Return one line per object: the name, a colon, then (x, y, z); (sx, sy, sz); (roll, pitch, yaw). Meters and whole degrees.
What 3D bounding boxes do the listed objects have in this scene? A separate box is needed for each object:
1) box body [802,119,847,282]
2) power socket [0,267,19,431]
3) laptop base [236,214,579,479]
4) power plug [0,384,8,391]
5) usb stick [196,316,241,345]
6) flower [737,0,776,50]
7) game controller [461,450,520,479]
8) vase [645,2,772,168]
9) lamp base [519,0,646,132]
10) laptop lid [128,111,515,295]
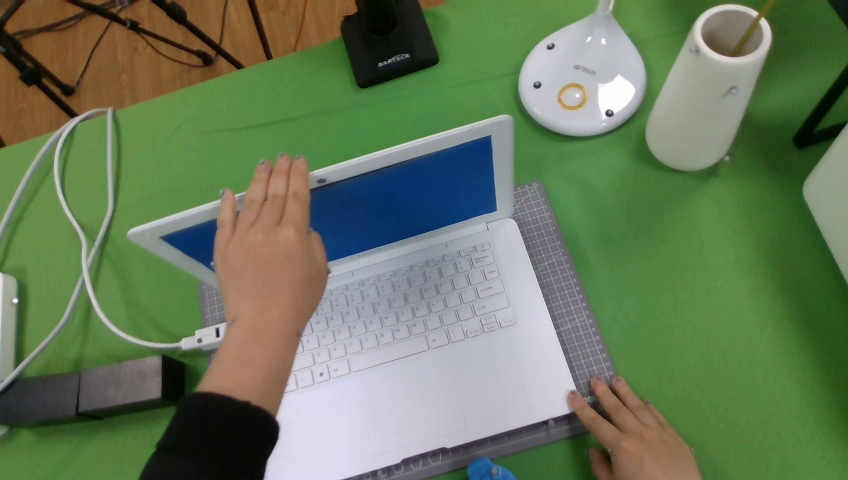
box body: (0.567, 0.025, 0.562); (0.254, 0.161, 0.361); (-15, 68, 3)
power socket: (-0.551, 0.137, 0.756); (0.072, 0.033, 0.225); (-14, 67, 2)
laptop base: (-0.030, 0.121, 0.692); (0.354, 0.023, 0.234); (-17, 71, 2)
power plug: (-0.509, 0.190, 0.708); (0.072, 0.053, 0.035); (-2, 68, 6)
usb stick: (-0.235, 0.106, 0.714); (0.059, 0.027, 0.021); (-13, 67, -3)
flower: (0.308, -0.195, 0.576); (0.038, 0.364, 0.043); (-1, 58, -9)
game controller: (0.035, 0.283, 0.607); (0.155, 0.052, 0.096); (-31, 63, -4)
vase: (0.301, -0.160, 0.653); (0.098, 0.201, 0.097); (-3, 67, 9)
lamp base: (0.196, -0.249, 0.713); (0.160, 0.182, 0.178); (15, 69, 14)
laptop lid: (-0.077, -0.023, 0.623); (0.357, 0.243, 0.013); (-17, 70, 3)
